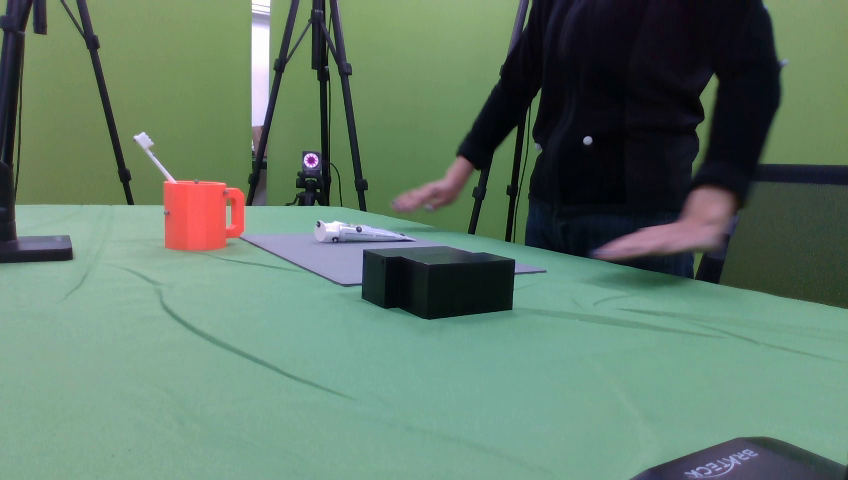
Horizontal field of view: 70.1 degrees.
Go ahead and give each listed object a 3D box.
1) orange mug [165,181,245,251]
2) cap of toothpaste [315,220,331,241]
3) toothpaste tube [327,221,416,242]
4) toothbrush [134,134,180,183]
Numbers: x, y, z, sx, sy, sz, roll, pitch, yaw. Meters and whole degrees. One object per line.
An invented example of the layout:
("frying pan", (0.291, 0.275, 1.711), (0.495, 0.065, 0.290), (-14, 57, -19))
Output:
("orange mug", (-0.326, -0.040, 0.911), (0.083, 0.101, 0.127), (8, 14, 37))
("cap of toothpaste", (-0.164, -0.016, 0.982), (0.011, 0.037, 0.037), (-8, 12, -43))
("toothpaste tube", (-0.095, -0.012, 1.026), (0.166, 0.034, 0.055), (2, 13, -33))
("toothbrush", (-0.348, -0.077, 0.873), (0.014, 0.182, 0.017), (-14, 29, 46))
